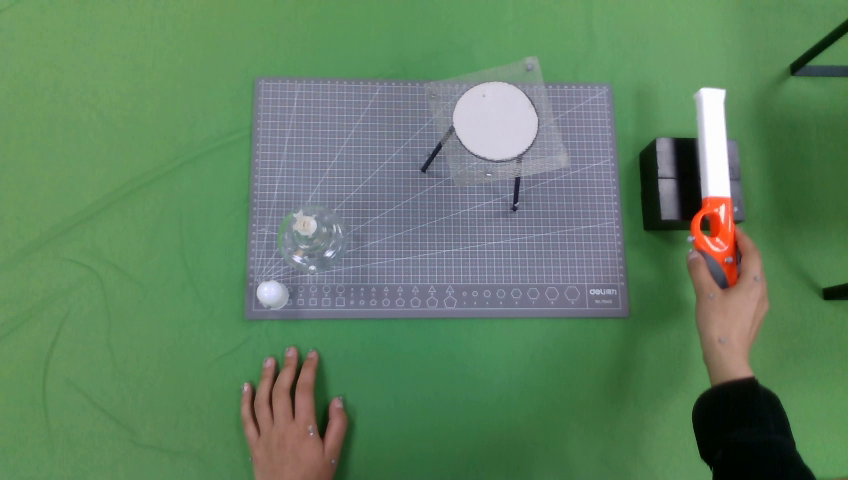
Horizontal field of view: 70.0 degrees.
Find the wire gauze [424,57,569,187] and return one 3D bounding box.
[{"bbox_3d":[0.073,-0.120,0.616,0.125,0.011,0.121,-13,79,-6],"label":"wire gauze"}]

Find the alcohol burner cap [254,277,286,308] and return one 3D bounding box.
[{"bbox_3d":[-0.174,0.057,0.677,0.034,0.048,0.033,1,78,-4],"label":"alcohol burner cap"}]

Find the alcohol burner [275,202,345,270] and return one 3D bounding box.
[{"bbox_3d":[-0.125,-0.008,0.657,0.078,0.119,0.077,1,80,-5],"label":"alcohol burner"}]

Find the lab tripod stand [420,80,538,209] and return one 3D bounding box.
[{"bbox_3d":[0.070,-0.113,0.682,0.148,0.132,0.147,1,77,-2],"label":"lab tripod stand"}]

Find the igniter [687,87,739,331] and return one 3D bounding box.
[{"bbox_3d":[0.320,-0.037,0.676,0.057,0.025,0.275,3,81,-7],"label":"igniter"}]
